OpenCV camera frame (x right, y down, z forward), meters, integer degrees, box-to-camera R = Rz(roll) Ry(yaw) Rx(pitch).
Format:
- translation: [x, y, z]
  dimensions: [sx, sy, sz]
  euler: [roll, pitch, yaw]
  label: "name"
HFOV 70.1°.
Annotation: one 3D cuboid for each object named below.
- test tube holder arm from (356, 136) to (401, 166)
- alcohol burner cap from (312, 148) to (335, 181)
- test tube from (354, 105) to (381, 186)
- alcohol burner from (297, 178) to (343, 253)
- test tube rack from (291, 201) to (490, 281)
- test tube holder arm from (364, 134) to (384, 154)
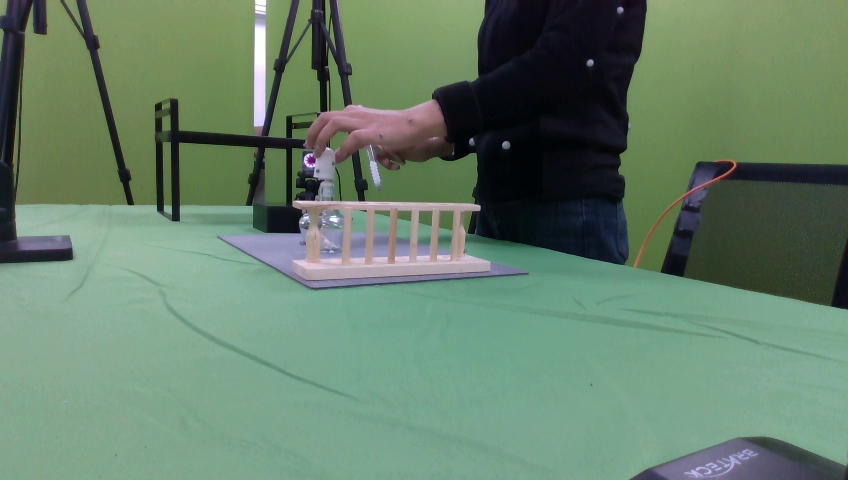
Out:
- translation: [-0.080, -0.162, 1.108]
  dimensions: [0.013, 0.015, 0.179]
  euler: [-9, -9, 18]
  label: "test tube holder arm"
- translation: [-0.146, -0.111, 0.882]
  dimensions: [0.034, 0.048, 0.034]
  euler: [4, 6, 0]
  label: "alcohol burner cap"
- translation: [-0.097, -0.164, 1.041]
  dimensions: [0.017, 0.150, 0.017]
  euler: [-14, -11, -3]
  label: "test tube"
- translation: [-0.146, -0.040, 0.894]
  dimensions: [0.078, 0.119, 0.078]
  euler: [5, 7, 0]
  label: "alcohol burner"
- translation: [-0.035, -0.002, 0.745]
  dimensions: [0.243, 0.085, 0.066]
  euler: [-1, 8, -28]
  label: "test tube rack"
- translation: [-0.088, -0.168, 1.064]
  dimensions: [0.010, 0.015, 0.088]
  euler: [-8, -9, 11]
  label: "test tube holder arm"
